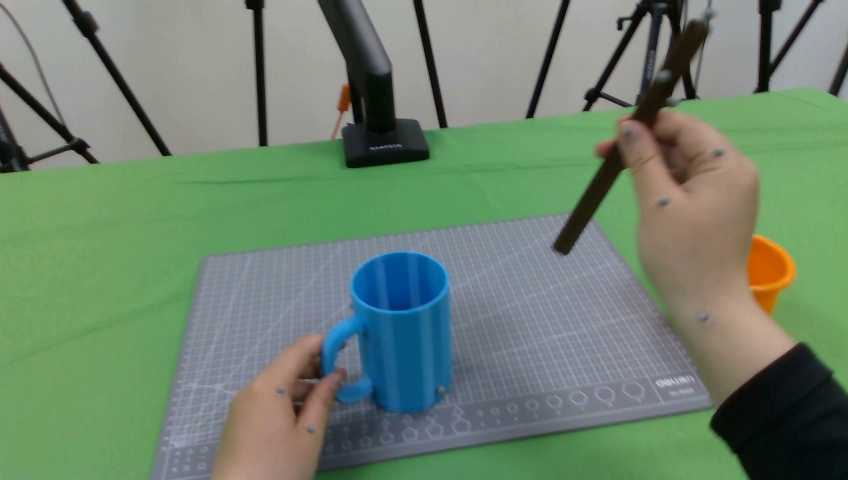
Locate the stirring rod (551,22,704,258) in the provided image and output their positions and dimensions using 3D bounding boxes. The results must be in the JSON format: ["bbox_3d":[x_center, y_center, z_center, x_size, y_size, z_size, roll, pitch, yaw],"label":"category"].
[{"bbox_3d":[0.118,-0.051,0.374,0.014,0.177,0.006,27,43,7],"label":"stirring rod"}]

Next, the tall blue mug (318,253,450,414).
[{"bbox_3d":[-0.024,0.084,0.477,0.077,0.109,0.107,14,38,21],"label":"tall blue mug"}]
